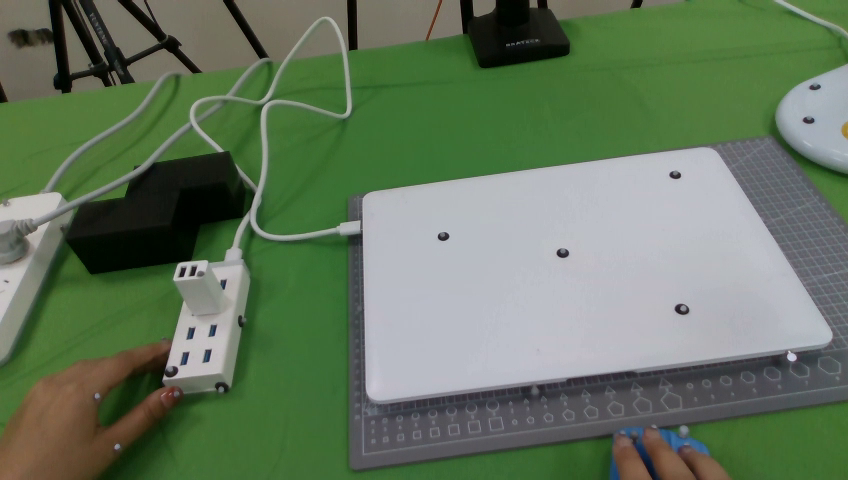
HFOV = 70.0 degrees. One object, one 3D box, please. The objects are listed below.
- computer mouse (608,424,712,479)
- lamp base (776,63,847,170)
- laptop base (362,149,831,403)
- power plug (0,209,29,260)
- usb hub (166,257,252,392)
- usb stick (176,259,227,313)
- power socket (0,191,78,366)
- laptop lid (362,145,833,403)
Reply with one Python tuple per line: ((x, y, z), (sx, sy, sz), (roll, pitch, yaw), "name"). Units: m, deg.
((0.145, 0.166, 0.376), (0.062, 0.041, 0.116), (7, 44, 17), "computer mouse")
((0.445, -0.182, 0.570), (0.159, 0.182, 0.178), (15, 48, 22), "lamp base")
((0.123, 0.020, 0.533), (0.354, 0.023, 0.233), (-7, 49, 1), "laptop base")
((-0.406, -0.006, 0.592), (0.035, 0.053, 0.072), (-12, 38, -17), "power plug")
((-0.183, 0.069, 0.524), (0.049, 0.025, 0.124), (-7, 45, 2), "usb hub")
((-0.183, 0.043, 0.508), (0.027, 0.060, 0.021), (-9, 45, 2), "usb stick")
((-0.404, 0.032, 0.586), (0.072, 0.033, 0.224), (-7, 45, 0), "power socket")
((0.122, 0.013, 0.523), (0.357, 0.013, 0.239), (-6, 48, 2), "laptop lid")
